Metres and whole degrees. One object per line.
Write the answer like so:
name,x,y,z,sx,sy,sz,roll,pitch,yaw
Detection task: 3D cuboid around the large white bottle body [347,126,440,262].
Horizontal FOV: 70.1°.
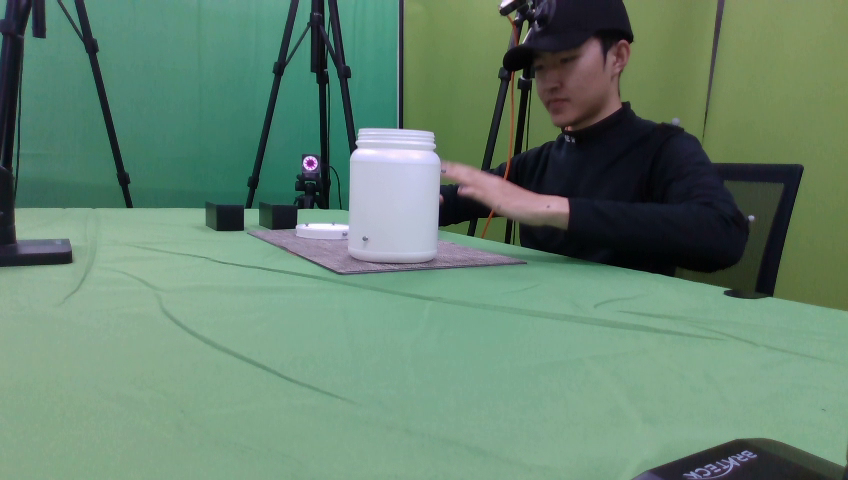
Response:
large white bottle body,-0.043,-0.067,0.868,0.131,0.184,0.130,2,8,0

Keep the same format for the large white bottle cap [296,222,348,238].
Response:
large white bottle cap,-0.177,-0.019,1.110,0.115,0.018,0.115,3,7,0
